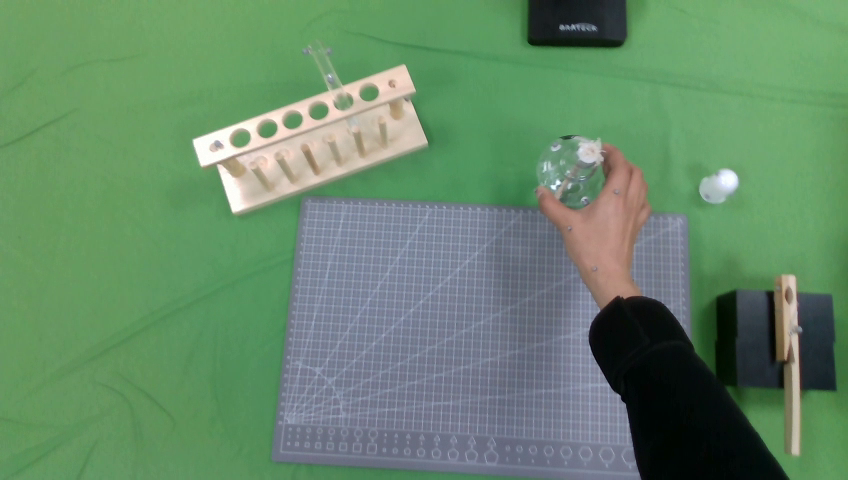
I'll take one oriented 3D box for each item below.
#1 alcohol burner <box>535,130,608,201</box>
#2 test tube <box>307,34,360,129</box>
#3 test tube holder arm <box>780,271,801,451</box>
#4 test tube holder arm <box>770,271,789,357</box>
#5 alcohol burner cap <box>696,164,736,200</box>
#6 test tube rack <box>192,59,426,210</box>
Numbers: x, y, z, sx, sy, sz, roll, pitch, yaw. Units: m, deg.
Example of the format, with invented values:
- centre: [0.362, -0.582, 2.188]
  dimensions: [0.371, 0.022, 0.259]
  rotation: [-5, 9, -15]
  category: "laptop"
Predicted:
- centre: [0.156, -0.082, 0.627]
  dimensions: [0.078, 0.119, 0.077]
  rotation: [0, 80, -1]
  category: "alcohol burner"
- centre: [-0.093, -0.162, 0.644]
  dimensions: [0.017, 0.151, 0.017]
  rotation: [-3, 67, 9]
  category: "test tube"
- centre: [0.368, 0.120, 0.611]
  dimensions: [0.013, 0.015, 0.177]
  rotation: [1, 79, 2]
  category: "test tube holder arm"
- centre: [0.364, 0.076, 0.620]
  dimensions: [0.010, 0.015, 0.087]
  rotation: [2, 79, 2]
  category: "test tube holder arm"
- centre: [0.334, -0.068, 0.689]
  dimensions: [0.034, 0.048, 0.033]
  rotation: [-1, 76, 3]
  category: "alcohol burner cap"
- centre: [-0.123, -0.116, 0.687]
  dimensions: [0.242, 0.085, 0.066]
  rotation: [-21, 77, -3]
  category: "test tube rack"
